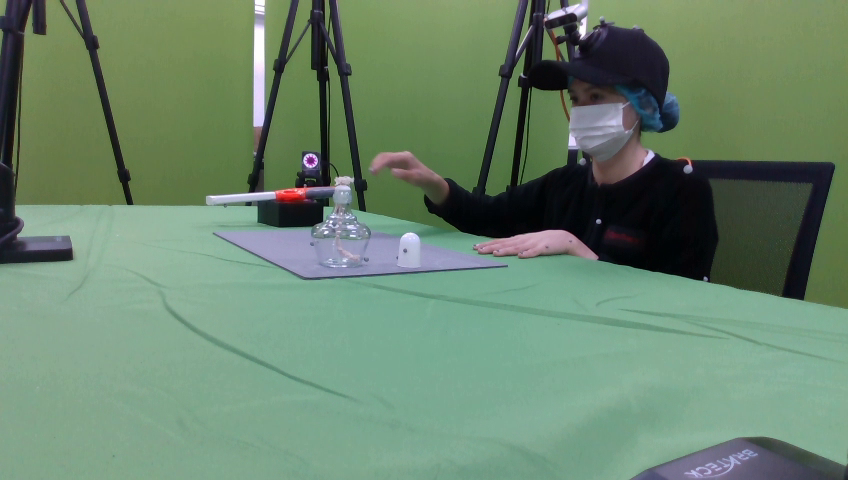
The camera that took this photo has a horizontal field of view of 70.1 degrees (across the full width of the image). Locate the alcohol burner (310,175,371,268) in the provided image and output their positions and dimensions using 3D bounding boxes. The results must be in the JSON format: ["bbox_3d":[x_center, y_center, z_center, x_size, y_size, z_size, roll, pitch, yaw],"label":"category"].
[{"bbox_3d":[-0.107,-0.024,0.778,0.078,0.119,0.078,3,5,0],"label":"alcohol burner"}]

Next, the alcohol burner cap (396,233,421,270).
[{"bbox_3d":[-0.020,0.014,0.795,0.034,0.048,0.034,2,6,0],"label":"alcohol burner cap"}]

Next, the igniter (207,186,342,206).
[{"bbox_3d":[-0.300,-0.091,1.241,0.278,0.025,0.057,-8,11,-34],"label":"igniter"}]
